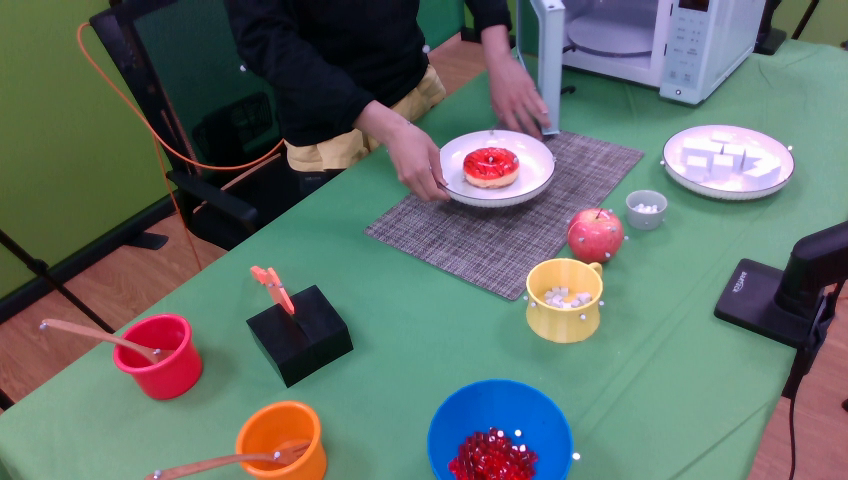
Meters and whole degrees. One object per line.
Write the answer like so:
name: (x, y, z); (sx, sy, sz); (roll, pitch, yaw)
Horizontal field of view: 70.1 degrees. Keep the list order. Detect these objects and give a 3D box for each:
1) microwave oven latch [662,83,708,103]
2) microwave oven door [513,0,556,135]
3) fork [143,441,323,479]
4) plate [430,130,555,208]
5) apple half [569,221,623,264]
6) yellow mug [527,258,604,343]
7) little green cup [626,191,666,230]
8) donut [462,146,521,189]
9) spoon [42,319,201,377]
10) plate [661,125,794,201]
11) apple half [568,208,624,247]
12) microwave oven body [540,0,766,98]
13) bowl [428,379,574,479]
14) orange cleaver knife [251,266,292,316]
microwave oven latch: (0.518, -0.296, 1.204); (0.078, 0.029, 0.030); (28, 52, 36)
microwave oven door: (0.221, -0.408, 1.223); (0.039, 0.245, 0.354); (-5, 40, 2)
fork: (-0.189, 0.231, 0.631); (0.028, 0.018, 0.209); (36, 13, 37)
plate: (0.116, -0.116, 1.021); (0.209, 0.038, 0.208); (-2, 41, 3)
apple half: (0.251, 0.010, 0.884); (0.081, 0.081, 0.032); (3, 37, 12)
yellow mug: (0.202, 0.073, 0.825); (0.131, 0.064, 0.099); (-32, 46, -27)
little green cup: (0.352, -0.046, 0.963); (0.061, 0.039, 0.061); (-4, 40, 4)
donut: (0.113, -0.123, 1.012); (0.099, 0.048, 0.098); (-3, 40, 3)
spoon: (-0.385, 0.135, 0.779); (0.195, 0.021, 0.041); (29, 37, -27)
plate: (0.513, -0.128, 1.035); (0.207, 0.039, 0.206); (-4, 40, 4)
apple half: (0.259, -0.014, 0.914); (0.080, 0.075, 0.053); (0, 36, 15)
microwave oven body: (0.472, -0.513, 1.317); (0.438, 0.261, 0.327); (25, 51, 34)
bowl: (0.082, 0.233, 0.644); (0.151, 0.077, 0.150); (-4, 39, 4)
orange cleaver knife: (-0.221, 0.071, 0.873); (0.012, 0.077, 0.210); (-25, 11, -21)
